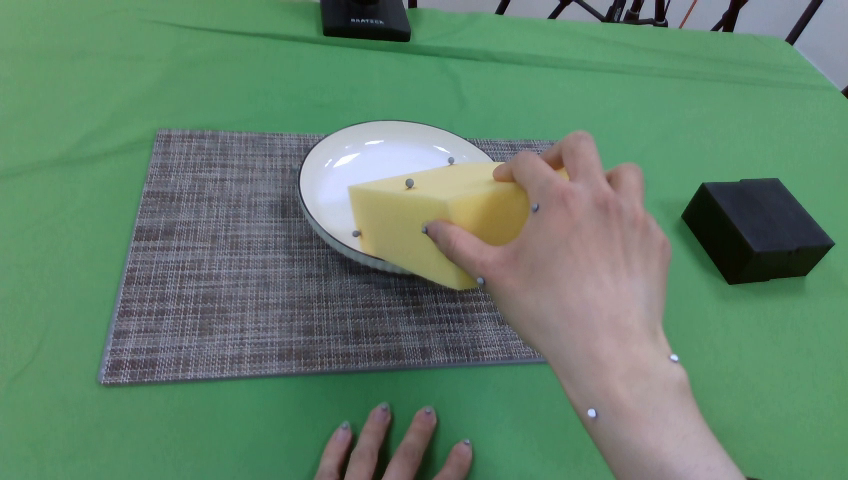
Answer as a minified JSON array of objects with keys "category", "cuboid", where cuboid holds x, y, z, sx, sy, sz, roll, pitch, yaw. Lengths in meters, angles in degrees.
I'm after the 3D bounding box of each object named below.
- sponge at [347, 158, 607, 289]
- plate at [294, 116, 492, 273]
[{"category":"sponge","cuboid":[0.028,-0.024,0.474,0.118,0.061,0.205,-14,13,-22]},{"category":"plate","cuboid":[-0.020,-0.044,0.590,0.208,0.039,0.205,7,46,-7]}]
